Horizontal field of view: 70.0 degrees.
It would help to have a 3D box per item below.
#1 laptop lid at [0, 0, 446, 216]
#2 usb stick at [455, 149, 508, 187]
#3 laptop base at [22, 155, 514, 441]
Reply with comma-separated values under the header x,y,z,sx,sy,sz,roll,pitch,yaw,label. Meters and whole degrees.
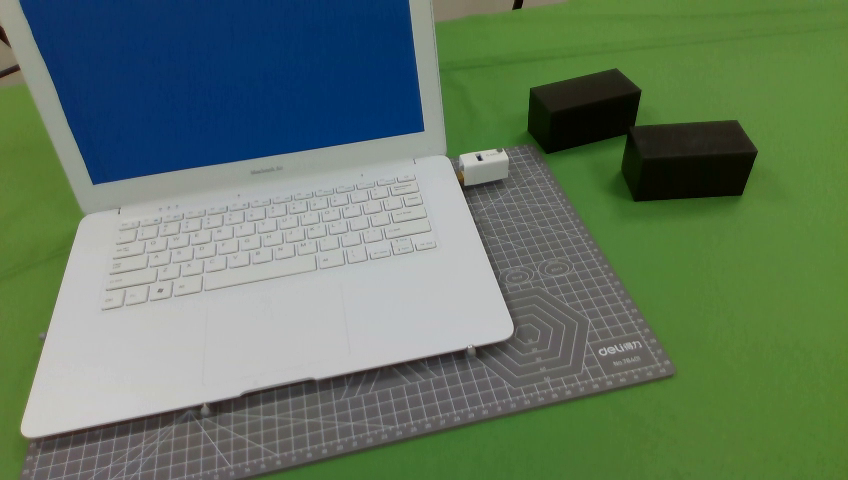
x,y,z,sx,sy,sz,roll,pitch,yaw,label
-0.162,-0.151,0.537,0.357,0.243,0.013,-12,30,-6,laptop lid
0.050,-0.068,0.583,0.059,0.027,0.021,-13,45,-5,usb stick
-0.125,0.030,0.512,0.355,0.023,0.233,-11,47,-6,laptop base
